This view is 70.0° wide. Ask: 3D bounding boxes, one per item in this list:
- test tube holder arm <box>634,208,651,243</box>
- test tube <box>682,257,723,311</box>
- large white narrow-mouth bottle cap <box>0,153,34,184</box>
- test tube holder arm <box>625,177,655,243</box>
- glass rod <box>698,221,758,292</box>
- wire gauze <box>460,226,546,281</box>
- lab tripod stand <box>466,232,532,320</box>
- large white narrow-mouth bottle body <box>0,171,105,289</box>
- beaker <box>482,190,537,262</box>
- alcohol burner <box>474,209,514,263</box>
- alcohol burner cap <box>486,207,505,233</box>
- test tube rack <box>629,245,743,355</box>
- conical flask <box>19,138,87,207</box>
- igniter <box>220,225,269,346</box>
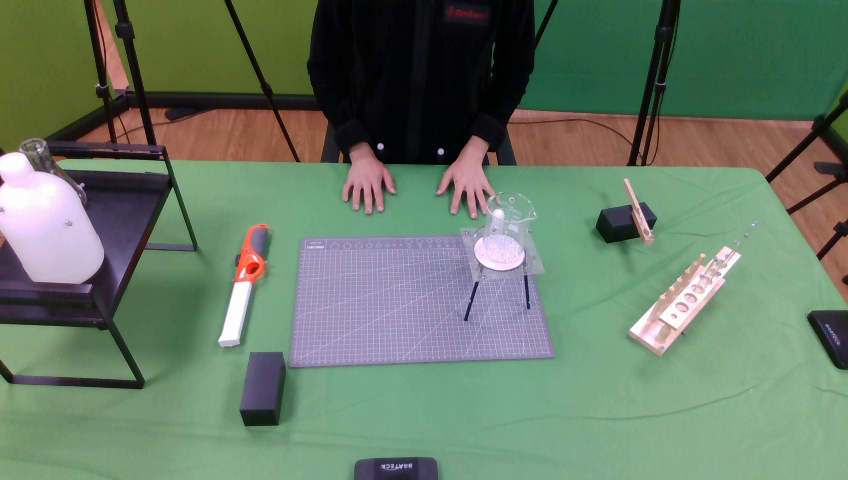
[{"bbox_3d":[0.428,-0.030,1.189,0.010,0.015,0.087,1,47,-2],"label":"test tube holder arm"},{"bbox_3d":[0.475,0.080,1.037,0.017,0.151,0.017,1,50,-1],"label":"test tube"},{"bbox_3d":[-0.510,-0.089,0.755,0.038,0.024,0.037,2,46,-2],"label":"large white narrow-mouth bottle cap"},{"bbox_3d":[0.433,-0.063,1.220,0.013,0.015,0.177,1,47,-3],"label":"test tube holder arm"},{"bbox_3d":[0.527,0.035,1.059,0.008,0.200,0.008,5,49,-6],"label":"glass rod"},{"bbox_3d":[0.130,0.017,1.016,0.121,0.011,0.124,-4,43,-9],"label":"wire gauze"},{"bbox_3d":[0.125,0.059,1.065,0.148,0.132,0.147,1,45,0],"label":"lab tripod stand"},{"bbox_3d":[-0.513,-0.029,0.818,0.102,0.195,0.101,2,46,-2],"label":"large white narrow-mouth bottle body"},{"bbox_3d":[0.136,-0.019,0.983,0.084,0.101,0.073,17,47,14],"label":"beaker"},{"bbox_3d":[0.134,-0.013,1.150,0.078,0.120,0.077,0,47,0],"label":"alcohol burner"},{"bbox_3d":[0.135,-0.039,1.125,0.034,0.048,0.033,5,41,-4],"label":"alcohol burner cap"},{"bbox_3d":[0.474,0.095,1.091,0.242,0.085,0.066,-34,56,-31],"label":"test tube rack"},{"bbox_3d":[-0.576,-0.097,0.930,0.075,0.122,0.075,2,46,-2],"label":"conical flask"},{"bbox_3d":[-0.323,0.072,1.100,0.057,0.025,0.275,-6,46,5],"label":"igniter"}]
